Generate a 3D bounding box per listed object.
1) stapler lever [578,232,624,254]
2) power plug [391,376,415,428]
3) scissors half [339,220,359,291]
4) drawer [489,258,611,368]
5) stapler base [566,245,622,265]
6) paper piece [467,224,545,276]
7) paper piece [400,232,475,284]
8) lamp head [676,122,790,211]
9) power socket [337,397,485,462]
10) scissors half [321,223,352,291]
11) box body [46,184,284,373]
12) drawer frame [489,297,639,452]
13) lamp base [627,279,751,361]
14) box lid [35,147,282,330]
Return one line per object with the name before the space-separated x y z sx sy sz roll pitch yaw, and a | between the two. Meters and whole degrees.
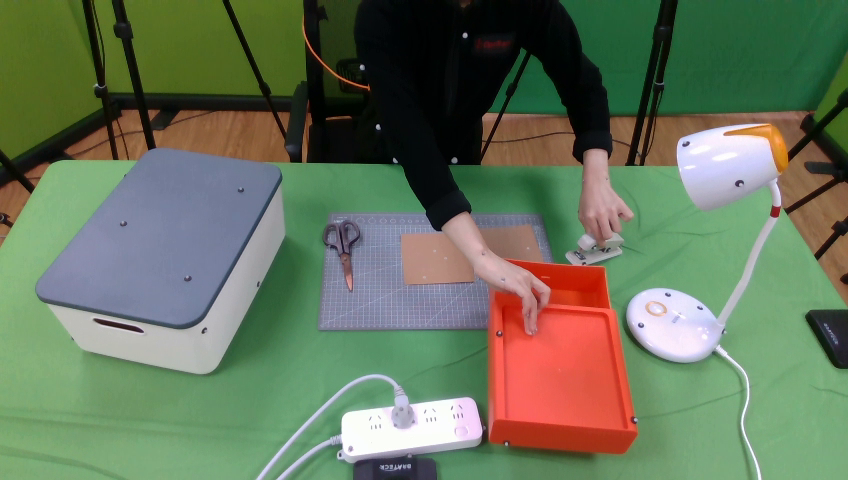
stapler lever | 0.345 0.000 1.173 0.118 0.040 0.026 -13 52 -32
power plug | -0.030 0.249 0.917 0.035 0.053 0.072 3 46 0
scissors half | -0.144 0.026 1.162 0.040 0.013 0.174 -7 50 1
drawer | 0.206 0.133 0.985 0.194 0.073 0.210 5 47 0
stapler base | 0.338 0.020 1.189 0.131 0.024 0.041 -14 52 -32
paper piece | 0.164 0.019 1.199 0.136 0.009 0.137 -1 45 -9
paper piece | 0.024 0.031 1.175 0.135 0.004 0.135 -1 46 -6
lamp head | 0.423 -0.104 0.819 0.122 0.113 0.112 -13 33 40
power socket | -0.018 0.285 0.915 0.227 0.033 0.071 -5 46 -8
scissors half | -0.163 0.031 1.160 0.040 0.013 0.174 -17 51 -14
box body | -0.414 0.029 1.039 0.254 0.161 0.362 10 46 5
drawer frame | 0.201 0.198 0.919 0.202 0.083 0.212 5 47 0
lamp base | 0.460 0.100 1.027 0.178 0.181 0.160 27 51 17
box lid | -0.411 -0.023 0.987 0.263 0.015 0.369 10 47 5
